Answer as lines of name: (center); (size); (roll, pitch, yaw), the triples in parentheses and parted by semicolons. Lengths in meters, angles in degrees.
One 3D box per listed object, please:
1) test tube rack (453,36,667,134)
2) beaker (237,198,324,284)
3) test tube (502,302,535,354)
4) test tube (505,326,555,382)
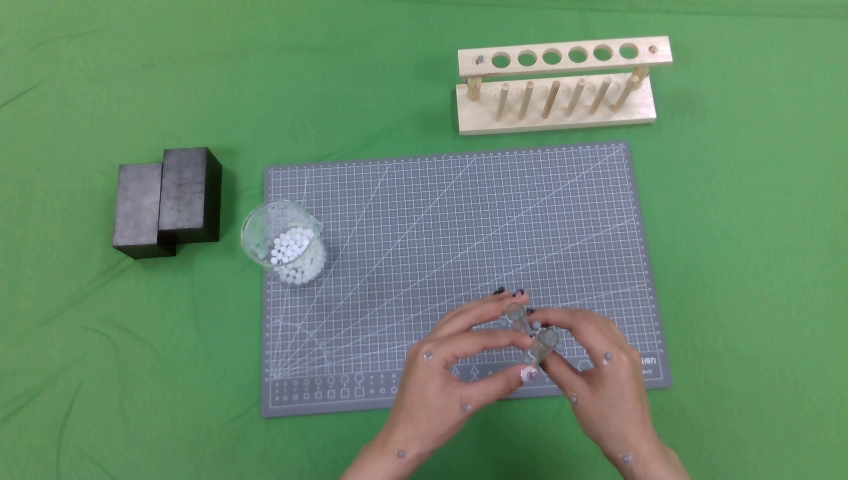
test tube rack: (0.158, -0.184, 0.728); (0.242, 0.085, 0.066); (-4, 73, 0)
beaker: (-0.150, 0.005, 0.666); (0.084, 0.101, 0.073); (-11, 73, -3)
test tube: (0.083, 0.079, 0.523); (0.017, 0.152, 0.017); (-5, 69, 13)
test tube: (0.083, 0.096, 0.493); (0.017, 0.151, 0.017); (1, 67, -1)
